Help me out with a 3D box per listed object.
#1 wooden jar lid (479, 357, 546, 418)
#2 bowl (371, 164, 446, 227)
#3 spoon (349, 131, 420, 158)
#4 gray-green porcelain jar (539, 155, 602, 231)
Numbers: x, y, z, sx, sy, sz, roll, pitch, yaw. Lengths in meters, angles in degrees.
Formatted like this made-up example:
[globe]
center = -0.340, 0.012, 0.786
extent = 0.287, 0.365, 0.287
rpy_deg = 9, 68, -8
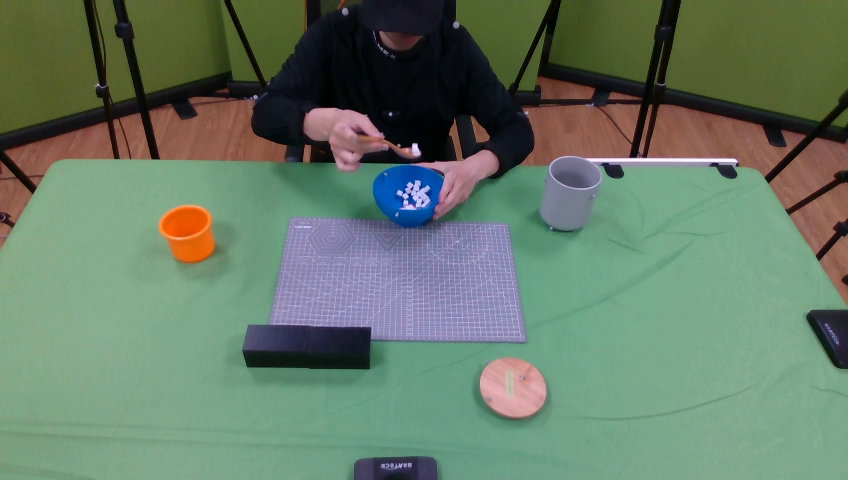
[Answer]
[wooden jar lid]
center = 0.142, 0.240, 0.979
extent = 0.108, 0.021, 0.107
rpy_deg = 1, 46, -1
[bowl]
center = -0.033, -0.079, 1.230
extent = 0.151, 0.077, 0.150
rpy_deg = 2, 43, -2
[spoon]
center = -0.068, -0.170, 1.065
extent = 0.041, 0.021, 0.194
rpy_deg = 29, 9, 32
[gray-green porcelain jar]
center = 0.294, -0.091, 1.235
extent = 0.106, 0.127, 0.105
rpy_deg = 2, 46, -2
